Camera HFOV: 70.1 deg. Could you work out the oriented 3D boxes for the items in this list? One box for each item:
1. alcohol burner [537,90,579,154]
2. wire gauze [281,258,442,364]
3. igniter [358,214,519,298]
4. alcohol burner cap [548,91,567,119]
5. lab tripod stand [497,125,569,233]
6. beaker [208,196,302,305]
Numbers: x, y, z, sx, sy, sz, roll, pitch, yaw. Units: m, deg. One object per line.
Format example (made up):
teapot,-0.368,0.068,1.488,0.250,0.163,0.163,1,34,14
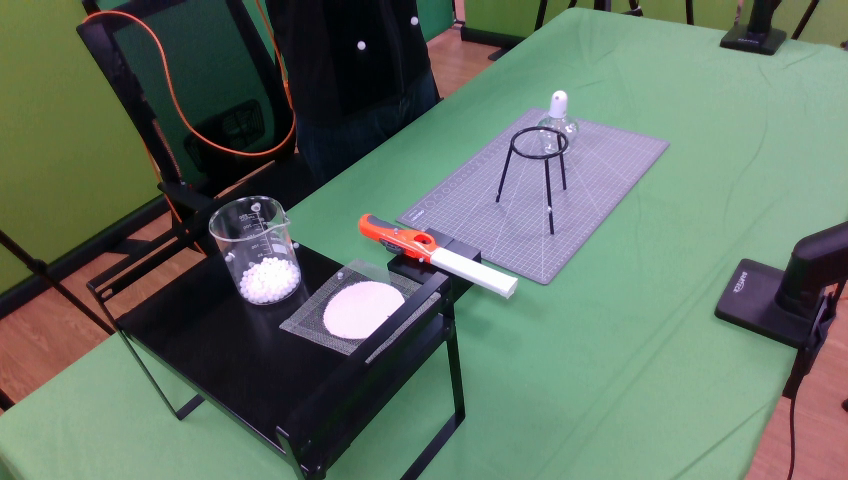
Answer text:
alcohol burner,0.248,-0.220,1.121,0.078,0.119,0.077,-5,39,5
wire gauze,-0.065,0.071,0.633,0.120,0.011,0.125,19,45,31
igniter,0.009,0.018,0.876,0.274,0.025,0.057,23,46,28
alcohol burner cap,0.245,-0.247,1.098,0.034,0.048,0.033,-1,45,1
lab tripod stand,0.189,-0.104,0.979,0.148,0.132,0.147,-3,41,3
beaker,-0.173,0.014,0.647,0.084,0.101,0.073,-1,41,8
